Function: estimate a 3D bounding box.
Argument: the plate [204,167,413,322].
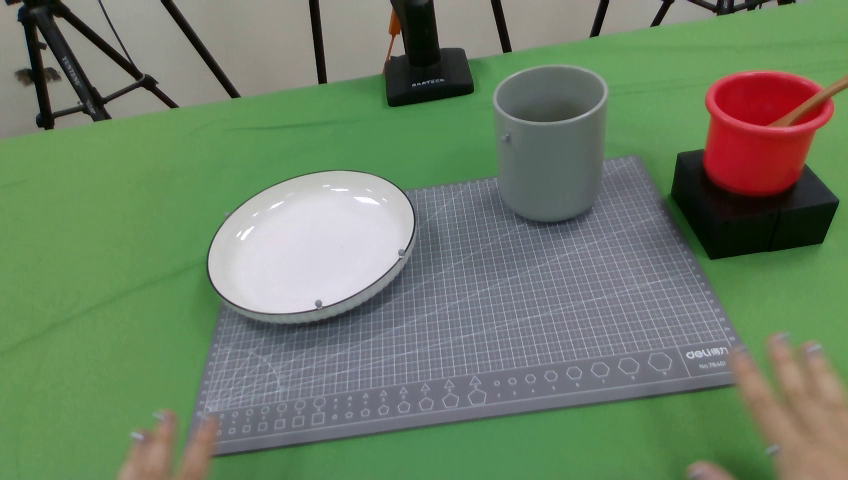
[{"bbox_3d":[-0.112,0.004,0.607,0.207,0.039,0.205,-5,44,6],"label":"plate"}]

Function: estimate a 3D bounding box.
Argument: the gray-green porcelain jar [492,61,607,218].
[{"bbox_3d":[0.123,-0.093,0.596,0.106,0.128,0.105,-6,44,6],"label":"gray-green porcelain jar"}]

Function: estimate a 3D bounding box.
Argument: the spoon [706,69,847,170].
[{"bbox_3d":[0.324,-0.115,0.496,0.022,0.194,0.041,30,42,-24],"label":"spoon"}]
